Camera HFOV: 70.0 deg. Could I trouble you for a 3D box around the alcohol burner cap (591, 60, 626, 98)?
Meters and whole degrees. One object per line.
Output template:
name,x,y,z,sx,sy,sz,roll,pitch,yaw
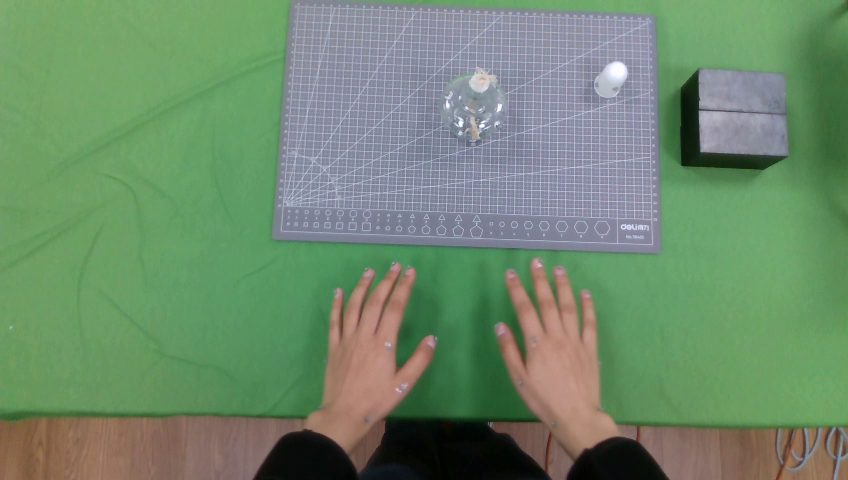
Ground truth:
alcohol burner cap,0.219,-0.192,0.714,0.034,0.048,0.033,0,79,-1

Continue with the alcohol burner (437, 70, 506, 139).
alcohol burner,0.054,-0.157,0.669,0.078,0.119,0.077,0,81,-2
